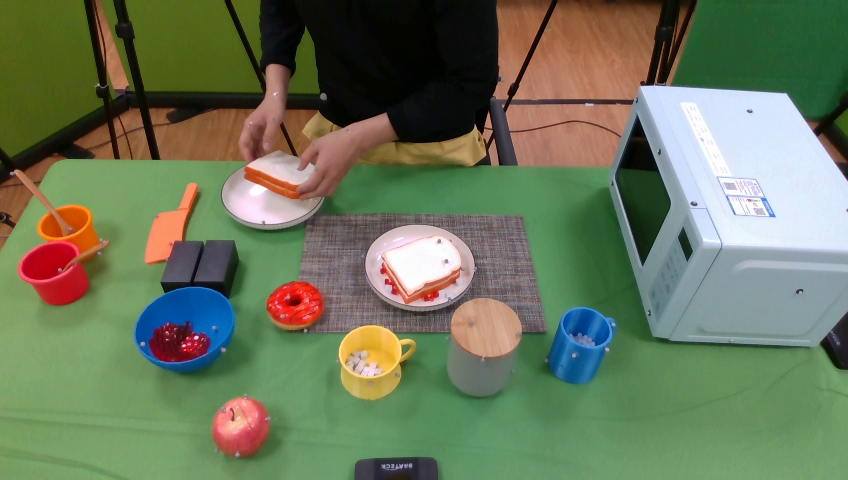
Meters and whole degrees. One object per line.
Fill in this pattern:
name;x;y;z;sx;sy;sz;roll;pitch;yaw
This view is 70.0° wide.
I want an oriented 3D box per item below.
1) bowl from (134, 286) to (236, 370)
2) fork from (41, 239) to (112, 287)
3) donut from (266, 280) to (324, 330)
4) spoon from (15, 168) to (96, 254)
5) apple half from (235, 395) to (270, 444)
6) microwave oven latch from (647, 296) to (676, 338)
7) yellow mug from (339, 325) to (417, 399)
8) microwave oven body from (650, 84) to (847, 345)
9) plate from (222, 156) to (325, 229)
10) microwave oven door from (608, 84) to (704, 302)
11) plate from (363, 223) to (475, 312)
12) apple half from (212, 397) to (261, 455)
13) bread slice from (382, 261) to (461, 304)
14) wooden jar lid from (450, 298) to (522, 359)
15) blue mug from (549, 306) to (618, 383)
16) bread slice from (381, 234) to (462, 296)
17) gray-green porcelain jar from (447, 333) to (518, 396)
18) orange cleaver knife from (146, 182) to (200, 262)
bowl;-0.377;0.156;0.981;0.151;0.077;0.150;2;46;-2
fork;-0.591;0.040;1.028;0.207;0.019;0.028;-27;36;29
donut;-0.223;0.112;1.051;0.099;0.048;0.098;2;46;-2
spoon;-0.675;-0.052;1.109;0.021;0.194;0.041;-14;24;52
apple half;-0.245;0.260;0.893;0.033;0.082;0.081;-29;55;-22
microwave oven latch;0.413;0.133;1.060;0.030;0.029;0.078;4;46;1
yellow mug;-0.072;0.191;0.978;0.131;0.064;0.099;-17;50;-20
microwave oven body;0.569;-0.054;1.116;0.326;0.261;0.439;2;46;-1
plate;-0.307;-0.095;1.251;0.209;0.038;0.208;1;47;-1
microwave oven door;0.424;-0.096;1.137;0.039;0.245;0.353;3;46;-1
plate;-0.009;0.054;1.126;0.208;0.039;0.206;2;46;-2
apple half;-0.276;0.276;0.877;0.053;0.075;0.080;-29;58;-21
bread slice;0.000;0.055;1.129;0.131;0.019;0.104;-22;51;-21
wooden jar lid;0.093;0.135;0.914;0.108;0.021;0.107;3;48;-3
blue mug;0.269;0.167;0.997;0.116;0.106;0.082;-19;50;-21
bread slice;0.001;0.038;1.107;0.134;0.018;0.106;-25;56;-23
gray-green porcelain jar;0.091;0.178;0.960;0.106;0.127;0.105;2;46;-2
orange cleaver knife;-0.494;-0.039;1.198;0.077;0.012;0.210;-3;48;2
